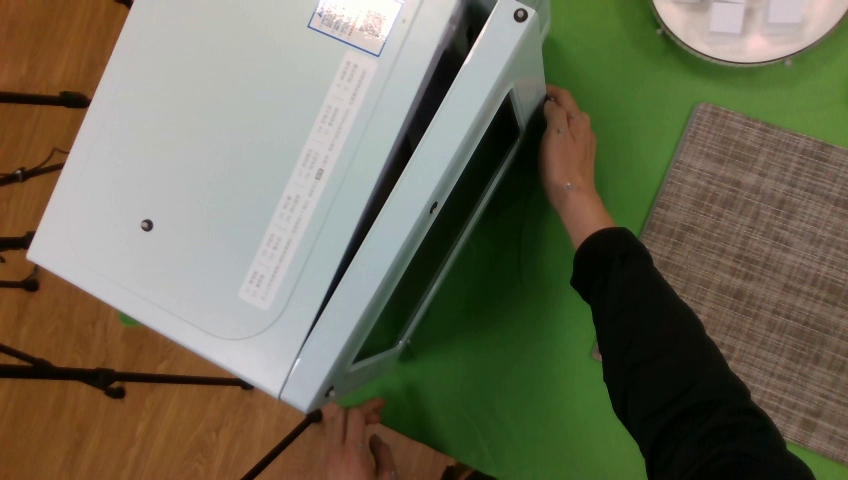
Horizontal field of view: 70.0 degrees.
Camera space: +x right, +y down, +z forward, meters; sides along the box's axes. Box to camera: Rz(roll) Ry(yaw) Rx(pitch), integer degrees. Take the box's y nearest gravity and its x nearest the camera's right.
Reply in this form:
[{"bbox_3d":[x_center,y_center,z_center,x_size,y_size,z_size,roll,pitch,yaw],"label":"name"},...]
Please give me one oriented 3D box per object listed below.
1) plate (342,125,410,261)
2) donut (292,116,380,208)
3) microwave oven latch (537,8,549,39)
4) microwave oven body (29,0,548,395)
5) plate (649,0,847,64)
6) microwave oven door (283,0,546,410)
[{"bbox_3d":[-0.114,-0.076,0.664,0.209,0.038,0.209,-1,88,11],"label":"plate"},{"bbox_3d":[-0.095,-0.083,0.651,0.099,0.048,0.099,2,98,17],"label":"donut"},{"bbox_3d":[0.110,-0.221,0.664,0.030,0.029,0.079,28,95,12],"label":"microwave oven latch"},{"bbox_3d":[-0.116,-0.125,0.612,0.325,0.261,0.442,25,94,12],"label":"microwave oven body"},{"bbox_3d":[0.339,-0.284,0.636,0.207,0.039,0.207,-1,88,12],"label":"plate"},{"bbox_3d":[0.008,-0.018,0.576,0.039,0.244,0.356,31,94,13],"label":"microwave oven door"}]
